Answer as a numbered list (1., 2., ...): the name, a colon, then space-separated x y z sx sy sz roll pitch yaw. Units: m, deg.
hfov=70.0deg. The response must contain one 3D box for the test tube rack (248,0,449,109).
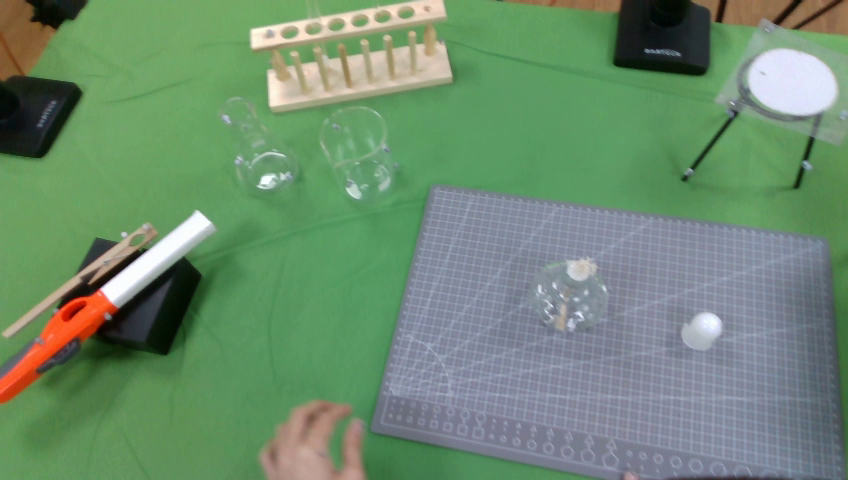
1. test tube rack: -0.094 -0.242 0.783 0.242 0.086 0.066 -10 63 -1

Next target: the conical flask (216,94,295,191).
1. conical flask: -0.202 -0.118 0.709 0.075 0.123 0.074 -2 63 4

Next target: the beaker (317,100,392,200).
1. beaker: -0.078 -0.097 0.703 0.073 0.101 0.083 23 68 16

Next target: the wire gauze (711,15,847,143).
1. wire gauze: 0.370 -0.163 0.607 0.121 0.011 0.124 30 70 15

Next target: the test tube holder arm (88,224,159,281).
1. test tube holder arm: -0.328 0.014 0.656 0.088 0.015 0.010 -39 98 -15

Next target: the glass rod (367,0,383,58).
1. glass rod: -0.068 -0.299 0.735 0.008 0.201 0.008 -5 56 7

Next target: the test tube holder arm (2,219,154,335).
1. test tube holder arm: -0.365 0.037 0.644 0.178 0.015 0.013 -40 98 -15

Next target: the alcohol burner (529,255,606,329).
1. alcohol burner: 0.145 0.046 0.604 0.078 0.120 0.077 -1 63 2

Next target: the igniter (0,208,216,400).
1. igniter: -0.337 0.064 0.629 0.276 0.025 0.056 -43 59 -17

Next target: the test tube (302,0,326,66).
1. test tube: -0.137 -0.272 0.746 0.017 0.151 0.017 0 61 0

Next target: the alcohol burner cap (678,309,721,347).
1. alcohol burner cap: 0.281 0.086 0.614 0.034 0.048 0.033 -1 63 3

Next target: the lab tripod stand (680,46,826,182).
1. lab tripod stand: 0.368 -0.132 0.667 0.148 0.132 0.147 -1 63 2
